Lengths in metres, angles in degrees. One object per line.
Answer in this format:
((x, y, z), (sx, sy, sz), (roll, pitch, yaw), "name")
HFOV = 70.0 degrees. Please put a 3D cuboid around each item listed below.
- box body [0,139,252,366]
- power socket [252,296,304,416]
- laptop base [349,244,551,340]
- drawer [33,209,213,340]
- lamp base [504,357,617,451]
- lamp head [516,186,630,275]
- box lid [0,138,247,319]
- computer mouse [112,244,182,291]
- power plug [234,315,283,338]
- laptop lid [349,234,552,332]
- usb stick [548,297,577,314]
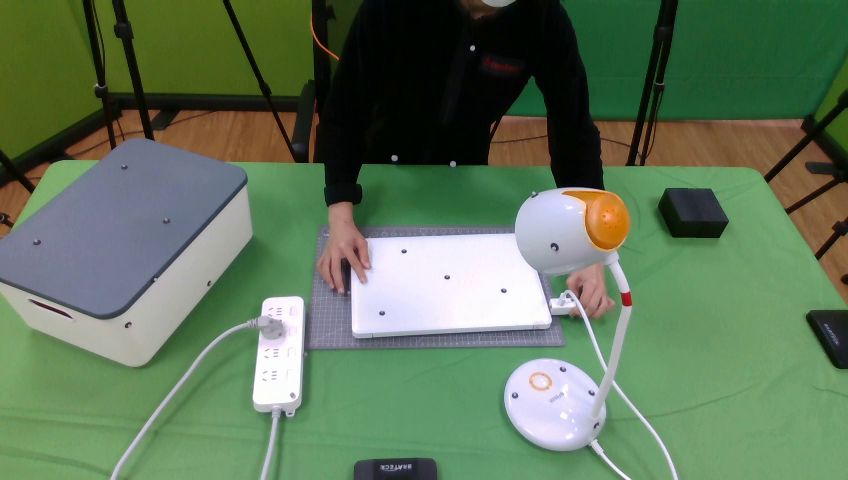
((-0.496, 0.013, 1.049), (0.254, 0.161, 0.362), (17, 47, 12), "box body")
((-0.237, 0.181, 0.998), (0.072, 0.033, 0.225), (-3, 47, -5), "power socket")
((0.040, 0.081, 1.126), (0.355, 0.023, 0.234), (-2, 43, -6), "laptop base")
((-0.509, 0.054, 1.046), (0.194, 0.073, 0.211), (15, 43, 10), "drawer")
((0.220, 0.211, 0.903), (0.160, 0.181, 0.178), (-33, 59, -30), "lamp base")
((0.189, -0.013, 0.728), (0.112, 0.112, 0.122), (-25, 9, -25), "lamp head")
((-0.493, -0.037, 0.994), (0.263, 0.015, 0.370), (17, 46, 12), "box lid")
((-0.493, 0.046, 1.078), (0.117, 0.041, 0.062), (24, 41, 13), "computer mouse")
((-0.269, 0.143, 1.000), (0.072, 0.053, 0.035), (4, 47, 2), "power plug")
((0.041, 0.071, 1.119), (0.357, 0.013, 0.240), (-1, 43, -5), "laptop lid")
((0.241, 0.118, 1.085), (0.059, 0.027, 0.021), (-5, 53, -1), "usb stick")
